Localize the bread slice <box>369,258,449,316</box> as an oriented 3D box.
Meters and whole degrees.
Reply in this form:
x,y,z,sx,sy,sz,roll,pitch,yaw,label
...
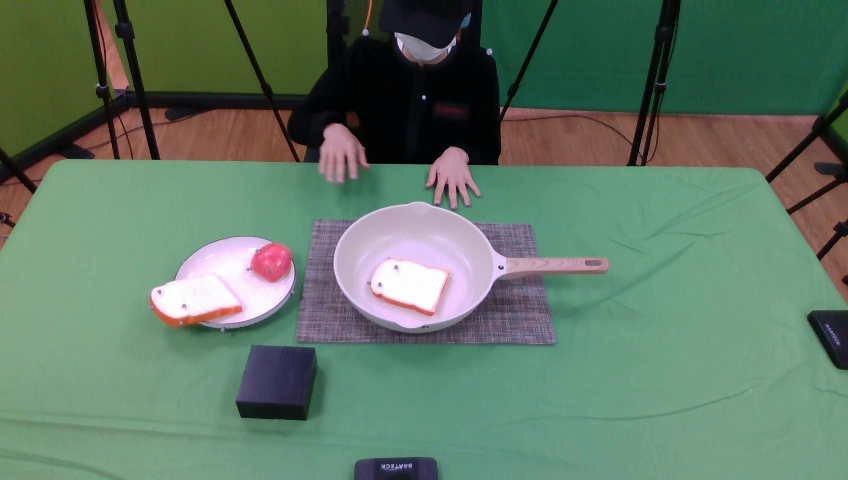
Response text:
x,y,z,sx,sy,sz,roll,pitch,yaw,label
-0.032,0.083,1.107,0.134,0.018,0.106,13,45,8,bread slice

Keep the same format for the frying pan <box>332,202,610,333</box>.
x,y,z,sx,sy,sz,roll,pitch,yaw,label
0.085,0.052,1.093,0.488,0.103,0.305,-1,46,6,frying pan

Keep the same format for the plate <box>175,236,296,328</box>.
x,y,z,sx,sy,sz,roll,pitch,yaw,label
-0.335,0.077,1.087,0.208,0.039,0.206,2,46,-2,plate

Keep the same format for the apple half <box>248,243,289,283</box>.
x,y,z,sx,sy,sz,roll,pitch,yaw,label
-0.287,0.035,1.107,0.081,0.033,0.081,-5,65,12,apple half

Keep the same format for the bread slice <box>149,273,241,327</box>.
x,y,z,sx,sy,sz,roll,pitch,yaw,label
-0.393,0.102,1.029,0.132,0.019,0.104,-14,43,-45,bread slice
